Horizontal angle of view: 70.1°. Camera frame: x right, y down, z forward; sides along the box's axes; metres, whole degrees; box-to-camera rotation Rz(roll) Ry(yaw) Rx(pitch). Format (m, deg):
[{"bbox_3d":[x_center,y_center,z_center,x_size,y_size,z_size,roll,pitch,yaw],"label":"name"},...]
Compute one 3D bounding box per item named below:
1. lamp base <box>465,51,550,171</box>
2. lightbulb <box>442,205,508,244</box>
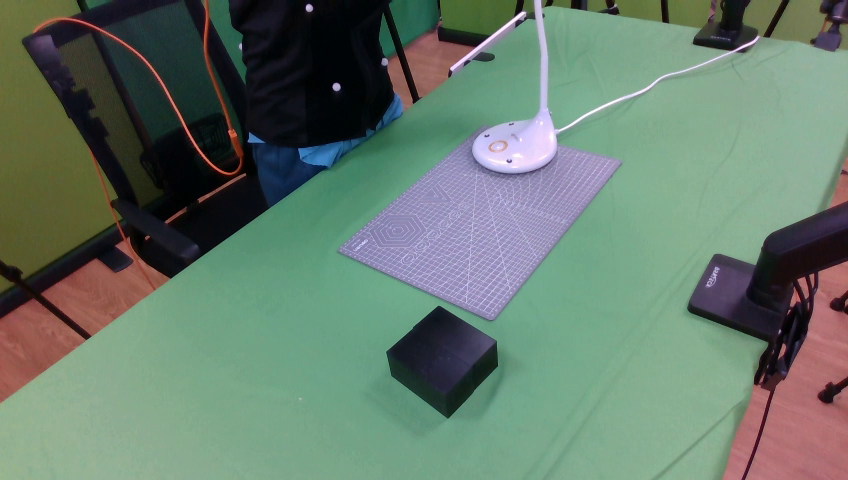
[{"bbox_3d":[0.159,-0.243,1.103,0.180,0.181,0.159,-31,46,-29],"label":"lamp base"},{"bbox_3d":[0.081,-0.019,0.955,0.107,0.059,0.059,18,44,5],"label":"lightbulb"}]
